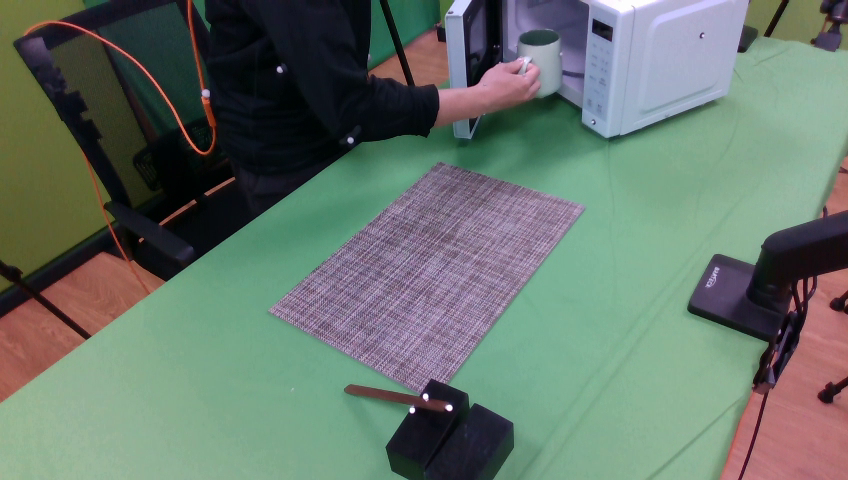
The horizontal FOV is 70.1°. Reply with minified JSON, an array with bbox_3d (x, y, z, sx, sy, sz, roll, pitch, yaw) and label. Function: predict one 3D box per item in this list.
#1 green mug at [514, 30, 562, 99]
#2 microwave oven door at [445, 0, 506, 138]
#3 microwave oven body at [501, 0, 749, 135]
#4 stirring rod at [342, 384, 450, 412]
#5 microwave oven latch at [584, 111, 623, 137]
[{"bbox_3d":[0.210,-0.325,1.148,0.092,0.105,0.125,19,48,27],"label":"green mug"},{"bbox_3d":[0.112,-0.405,1.230,0.039,0.245,0.355,6,43,16],"label":"microwave oven door"},{"bbox_3d":[0.382,-0.444,1.246,0.327,0.261,0.437,-22,42,-16],"label":"microwave oven body"},{"bbox_3d":[-0.038,0.186,0.714,0.175,0.006,0.014,-3,22,43],"label":"stirring rod"},{"bbox_3d":[0.337,-0.222,1.142,0.030,0.029,0.078,-21,42,-14],"label":"microwave oven latch"}]
